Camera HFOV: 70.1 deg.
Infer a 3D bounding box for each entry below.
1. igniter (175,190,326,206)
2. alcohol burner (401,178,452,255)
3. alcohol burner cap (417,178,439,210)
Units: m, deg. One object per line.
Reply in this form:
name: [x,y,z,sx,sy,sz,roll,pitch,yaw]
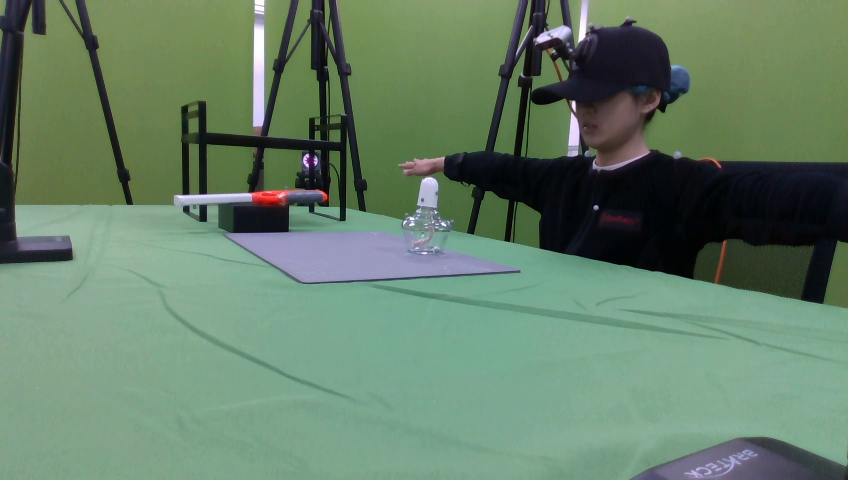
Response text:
igniter: [-0.315,-0.079,1.128,0.278,0.025,0.057,-5,13,-34]
alcohol burner: [0.005,-0.036,0.923,0.078,0.119,0.078,5,7,0]
alcohol burner cap: [0.008,-0.071,0.917,0.034,0.048,0.034,6,5,0]
